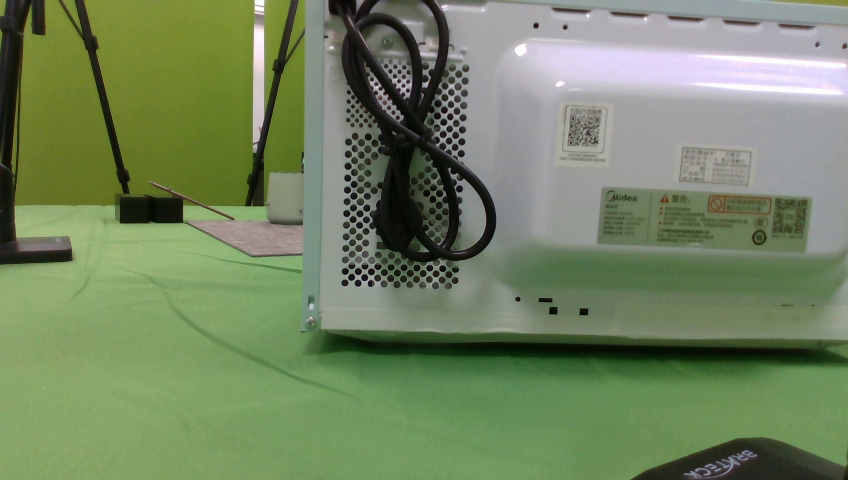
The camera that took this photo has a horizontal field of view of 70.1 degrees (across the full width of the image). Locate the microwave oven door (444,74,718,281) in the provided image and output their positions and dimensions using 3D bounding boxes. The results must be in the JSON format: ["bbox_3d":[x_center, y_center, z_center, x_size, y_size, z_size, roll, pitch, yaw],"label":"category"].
[{"bbox_3d":[0.187,-0.090,0.807,0.354,0.243,0.039,8,9,34],"label":"microwave oven door"}]

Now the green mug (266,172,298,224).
[{"bbox_3d":[-0.272,-0.089,1.271,0.092,0.105,0.126,7,8,33],"label":"green mug"}]

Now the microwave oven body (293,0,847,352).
[{"bbox_3d":[0.122,-0.055,0.550,0.442,0.260,0.325,3,7,-5],"label":"microwave oven body"}]

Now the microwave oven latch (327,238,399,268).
[{"bbox_3d":[-0.069,0.015,0.694,0.079,0.029,0.030,3,7,-3],"label":"microwave oven latch"}]

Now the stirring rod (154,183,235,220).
[{"bbox_3d":[-0.472,-0.079,1.252,0.177,0.006,0.014,27,4,-35],"label":"stirring rod"}]
